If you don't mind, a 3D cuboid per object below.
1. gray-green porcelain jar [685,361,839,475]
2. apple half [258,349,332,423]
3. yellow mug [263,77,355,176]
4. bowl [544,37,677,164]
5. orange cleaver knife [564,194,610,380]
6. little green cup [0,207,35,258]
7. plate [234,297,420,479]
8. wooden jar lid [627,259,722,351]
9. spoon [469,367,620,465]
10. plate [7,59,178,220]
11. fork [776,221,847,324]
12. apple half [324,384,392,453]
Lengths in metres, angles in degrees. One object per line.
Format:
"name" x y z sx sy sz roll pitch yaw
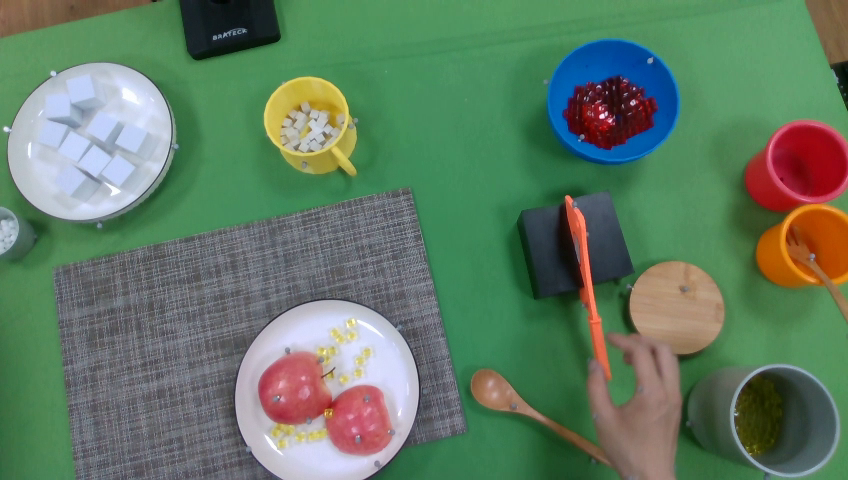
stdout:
"gray-green porcelain jar" 0.342 0.181 0.633 0.106 0.127 0.105 0 78 2
"apple half" -0.147 0.164 0.675 0.074 0.053 0.080 -16 80 1
"yellow mug" -0.128 -0.128 0.737 0.100 0.064 0.130 -41 82 -7
"bowl" 0.214 -0.154 0.727 0.151 0.077 0.150 0 79 2
"orange cleaver knife" 0.182 0.053 0.685 0.012 0.077 0.212 -12 103 2
"little green cup" -0.511 -0.007 0.736 0.061 0.039 0.061 0 80 0
"plate" -0.108 0.169 0.688 0.209 0.038 0.208 0 79 1
"wooden jar lid" 0.291 0.076 0.709 0.108 0.021 0.108 0 79 3
"spoon" 0.137 0.204 0.686 0.193 0.022 0.041 29 63 7
"plate" -0.407 -0.123 0.758 0.207 0.039 0.206 0 79 2
"fork" 0.425 0.043 0.645 0.028 0.019 0.205 3 35 2
"apple half" -0.076 0.201 0.675 0.081 0.033 0.081 -1 75 2
